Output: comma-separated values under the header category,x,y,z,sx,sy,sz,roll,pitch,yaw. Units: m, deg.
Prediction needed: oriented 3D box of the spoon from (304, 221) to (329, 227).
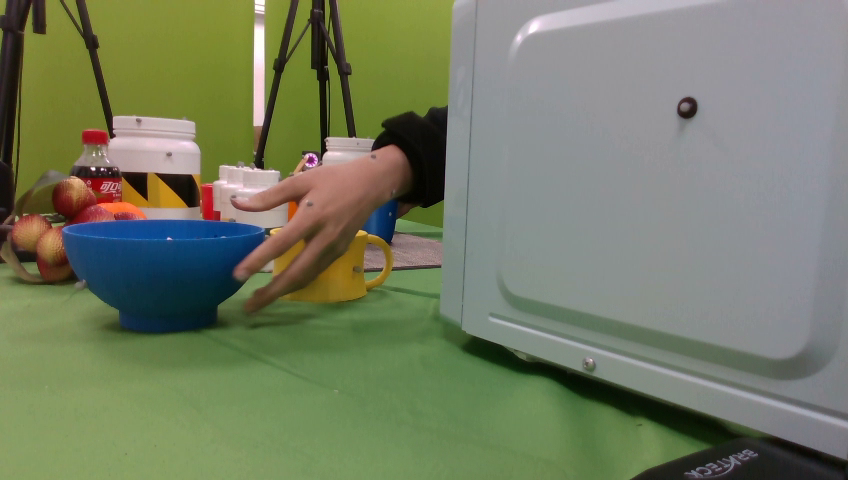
category,x,y,z,sx,sy,sz,roll,pitch,yaw
spoon,-0.204,-0.025,1.107,0.042,0.021,0.193,-22,13,-13

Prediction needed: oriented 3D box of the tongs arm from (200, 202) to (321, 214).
category,x,y,z,sx,sy,sz,roll,pitch,yaw
tongs arm,-0.378,-0.079,1.440,0.387,0.026,0.050,-3,8,-44

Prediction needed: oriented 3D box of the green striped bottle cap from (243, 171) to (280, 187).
category,x,y,z,sx,sy,sz,roll,pitch,yaw
green striped bottle cap,-0.198,-0.074,0.736,0.044,0.020,0.044,1,7,0

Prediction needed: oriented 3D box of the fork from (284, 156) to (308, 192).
category,x,y,z,sx,sy,sz,roll,pitch,yaw
fork,-0.295,-0.116,1.323,0.028,0.019,0.207,0,50,21

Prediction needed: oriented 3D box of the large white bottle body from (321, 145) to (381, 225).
category,x,y,z,sx,sy,sz,roll,pitch,yaw
large white bottle body,-0.162,-0.131,1.340,0.131,0.184,0.130,2,8,0

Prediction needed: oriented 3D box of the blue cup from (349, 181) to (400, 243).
category,x,y,z,sx,sy,sz,roll,pitch,yaw
blue cup,-0.083,-0.047,1.012,0.093,0.100,0.092,1,7,0

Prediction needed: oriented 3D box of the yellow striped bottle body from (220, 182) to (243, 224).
category,x,y,z,sx,sy,sz,roll,pitch,yaw
yellow striped bottle body,-0.245,-0.036,0.825,0.063,0.120,0.063,3,8,0

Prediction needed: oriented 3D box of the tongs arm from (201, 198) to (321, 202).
category,x,y,z,sx,sy,sz,roll,pitch,yaw
tongs arm,-0.433,-0.090,1.508,0.390,0.028,0.028,0,2,-29

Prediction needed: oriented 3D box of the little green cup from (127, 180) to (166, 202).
category,x,y,z,sx,sy,sz,roll,pitch,yaw
little green cup,-0.486,-0.086,1.061,0.061,0.038,0.061,1,7,0

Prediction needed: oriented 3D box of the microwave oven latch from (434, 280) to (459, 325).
category,x,y,z,sx,sy,sz,roll,pitch,yaw
microwave oven latch,0.044,0.045,0.470,0.079,0.029,0.030,-2,8,-39

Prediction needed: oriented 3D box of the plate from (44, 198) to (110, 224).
category,x,y,z,sx,sy,sz,roll,pitch,yaw
plate,-0.617,-0.056,1.179,0.209,0.038,0.209,3,7,0

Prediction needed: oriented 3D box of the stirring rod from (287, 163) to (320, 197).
category,x,y,z,sx,sy,sz,roll,pitch,yaw
stirring rod,-0.283,-0.107,1.298,0.014,0.006,0.176,10,52,51

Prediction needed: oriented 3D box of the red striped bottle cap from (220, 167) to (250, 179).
category,x,y,z,sx,sy,sz,roll,pitch,yaw
red striped bottle cap,-0.281,-0.099,0.901,0.044,0.017,0.044,-1,5,0

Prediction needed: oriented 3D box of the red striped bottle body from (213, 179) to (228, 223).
category,x,y,z,sx,sy,sz,roll,pitch,yaw
red striped bottle body,-0.284,-0.048,0.909,0.063,0.119,0.063,3,12,0

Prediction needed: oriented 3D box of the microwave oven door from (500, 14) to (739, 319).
category,x,y,z,sx,sy,sz,roll,pitch,yaw
microwave oven door,0.217,-0.065,0.601,0.358,0.243,0.039,-4,11,-41

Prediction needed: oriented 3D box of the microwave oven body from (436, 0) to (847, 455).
category,x,y,z,sx,sy,sz,roll,pitch,yaw
microwave oven body,0.279,-0.040,0.465,0.444,0.260,0.324,-3,9,-41

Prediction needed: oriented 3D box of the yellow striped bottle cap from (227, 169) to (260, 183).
category,x,y,z,sx,sy,sz,roll,pitch,yaw
yellow striped bottle cap,-0.243,-0.086,0.818,0.044,0.018,0.044,4,6,0

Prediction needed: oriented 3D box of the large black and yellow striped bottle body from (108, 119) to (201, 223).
category,x,y,z,sx,sy,sz,roll,pitch,yaw
large black and yellow striped bottle body,-0.412,-0.088,0.930,0.131,0.184,0.130,3,7,0

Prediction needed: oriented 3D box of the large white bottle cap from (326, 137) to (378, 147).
category,x,y,z,sx,sy,sz,roll,pitch,yaw
large white bottle cap,-0.158,-0.214,1.329,0.115,0.018,0.115,2,8,0

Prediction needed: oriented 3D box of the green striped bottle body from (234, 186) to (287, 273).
category,x,y,z,sx,sy,sz,roll,pitch,yaw
green striped bottle body,-0.201,-0.023,0.743,0.063,0.119,0.063,2,7,0

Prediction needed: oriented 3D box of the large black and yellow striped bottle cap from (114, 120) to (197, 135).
category,x,y,z,sx,sy,sz,roll,pitch,yaw
large black and yellow striped bottle cap,-0.407,-0.171,0.920,0.115,0.019,0.115,2,9,0

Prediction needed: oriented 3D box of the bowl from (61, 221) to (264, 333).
category,x,y,z,sx,sy,sz,roll,pitch,yaw
bowl,-0.209,0.029,0.495,0.151,0.077,0.151,2,6,0

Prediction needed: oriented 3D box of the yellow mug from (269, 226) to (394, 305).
category,x,y,z,sx,sy,sz,roll,pitch,yaw
yellow mug,-0.094,0.024,0.630,0.131,0.064,0.099,0,9,-22
